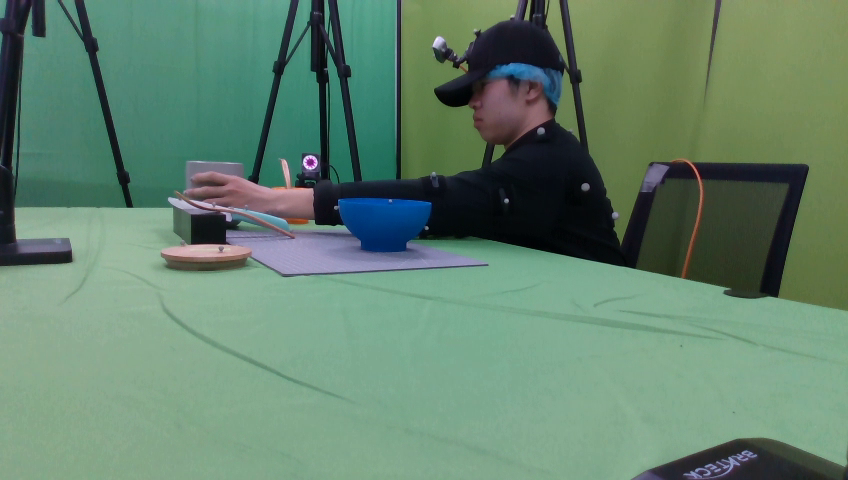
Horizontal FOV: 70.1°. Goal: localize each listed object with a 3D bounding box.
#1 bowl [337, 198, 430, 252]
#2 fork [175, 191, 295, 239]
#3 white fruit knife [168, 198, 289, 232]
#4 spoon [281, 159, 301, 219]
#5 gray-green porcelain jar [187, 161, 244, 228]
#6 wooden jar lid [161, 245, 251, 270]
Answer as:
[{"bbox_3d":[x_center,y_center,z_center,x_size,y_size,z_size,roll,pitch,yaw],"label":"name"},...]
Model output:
[{"bbox_3d":[-0.066,-0.024,0.967,0.151,0.077,0.151,3,7,0],"label":"bowl"},{"bbox_3d":[-0.306,-0.039,0.993,0.208,0.018,0.028,19,-9,-34],"label":"fork"},{"bbox_3d":[-0.329,-0.044,1.036,0.208,0.027,0.016,14,0,-32],"label":"white fruit knife"},{"bbox_3d":[-0.307,-0.117,1.368,0.042,0.193,0.021,1,-38,-23],"label":"spoon"},{"bbox_3d":[-0.410,-0.090,1.192,0.106,0.126,0.106,2,7,0],"label":"gray-green porcelain jar"},{"bbox_3d":[-0.279,0.022,0.777,0.108,0.020,0.108,2,6,0],"label":"wooden jar lid"}]
